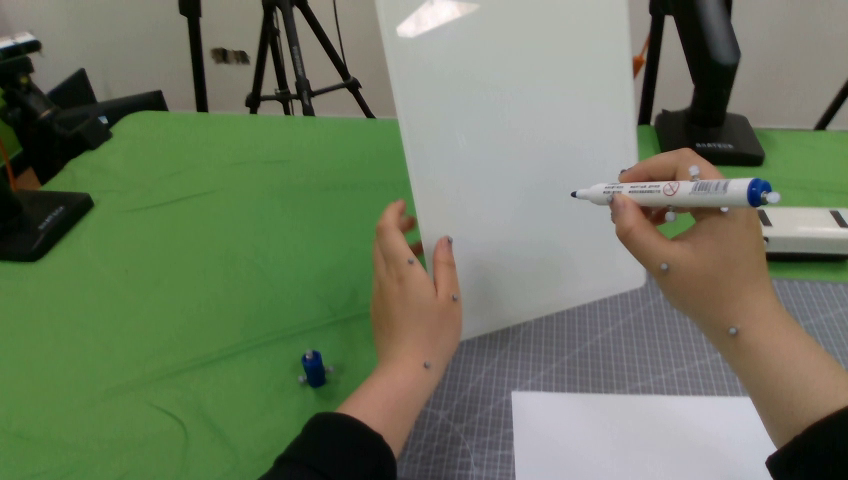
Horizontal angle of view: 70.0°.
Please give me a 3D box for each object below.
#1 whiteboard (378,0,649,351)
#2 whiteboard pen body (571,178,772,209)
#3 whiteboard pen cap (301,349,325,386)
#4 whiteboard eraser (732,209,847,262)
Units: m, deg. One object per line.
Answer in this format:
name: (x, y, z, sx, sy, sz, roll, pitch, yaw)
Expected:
whiteboard: (0.076, -0.085, 0.586, 0.217, 0.307, 0.142, -14, 19, -12)
whiteboard pen body: (0.140, -0.028, 0.369, 0.017, 0.017, 0.140, -27, 17, -26)
whiteboard pen cap: (-0.096, 0.111, 0.524, 0.018, 0.033, 0.018, -1, 39, 1)
whiteboard eraser: (0.382, -0.004, 0.621, 0.112, 0.042, 0.055, 2, 41, 7)
